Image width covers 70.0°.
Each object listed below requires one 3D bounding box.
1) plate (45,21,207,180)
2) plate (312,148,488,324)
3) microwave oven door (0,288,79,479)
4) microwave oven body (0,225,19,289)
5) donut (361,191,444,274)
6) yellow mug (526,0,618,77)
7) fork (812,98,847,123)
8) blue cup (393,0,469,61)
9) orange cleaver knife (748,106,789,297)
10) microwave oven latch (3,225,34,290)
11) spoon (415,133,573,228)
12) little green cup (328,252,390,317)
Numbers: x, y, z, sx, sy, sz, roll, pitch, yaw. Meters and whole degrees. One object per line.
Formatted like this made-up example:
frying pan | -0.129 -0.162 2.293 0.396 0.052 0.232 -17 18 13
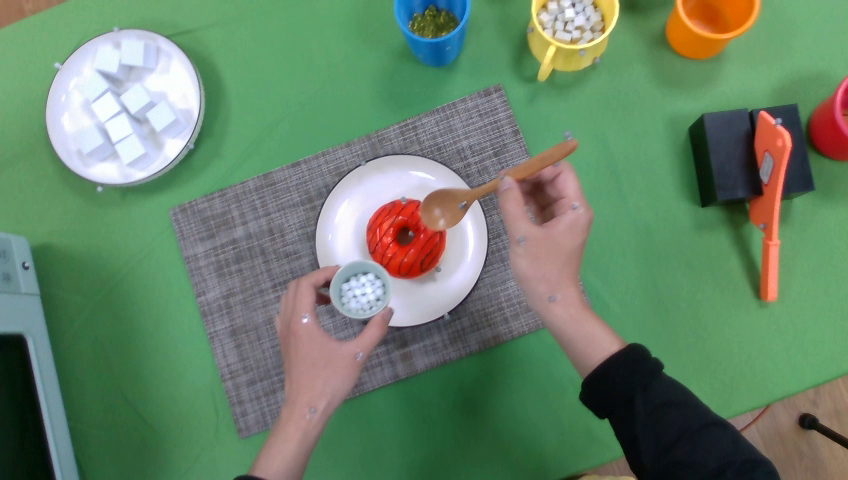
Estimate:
plate | -0.375 -0.175 0.776 0.207 0.039 0.207 -1 83 5
plate | -0.028 -0.005 0.723 0.209 0.038 0.208 -1 83 5
microwave oven door | -0.455 0.218 0.616 0.039 0.244 0.354 -18 82 3
microwave oven body | -0.606 0.222 0.634 0.326 0.261 0.440 -17 83 2
donut | -0.025 -0.009 0.712 0.099 0.048 0.099 -1 84 6
yellow mug | 0.167 -0.254 0.725 0.099 0.064 0.130 28 87 8
fork | 0.523 -0.127 0.639 0.028 0.019 0.205 -50 39 -12
blue cup | 0.012 -0.261 0.722 0.092 0.100 0.092 0 84 4
orange cleaver knife | 0.378 -0.040 0.674 0.012 0.076 0.213 -5 112 7
microwave oven latch | -0.507 0.023 0.746 0.030 0.029 0.079 -16 83 2
spoon | 0.056 -0.050 0.544 0.021 0.193 0.042 -36 98 -39
little green cup | -0.064 0.047 0.613 0.061 0.039 0.061 1 60 -1
